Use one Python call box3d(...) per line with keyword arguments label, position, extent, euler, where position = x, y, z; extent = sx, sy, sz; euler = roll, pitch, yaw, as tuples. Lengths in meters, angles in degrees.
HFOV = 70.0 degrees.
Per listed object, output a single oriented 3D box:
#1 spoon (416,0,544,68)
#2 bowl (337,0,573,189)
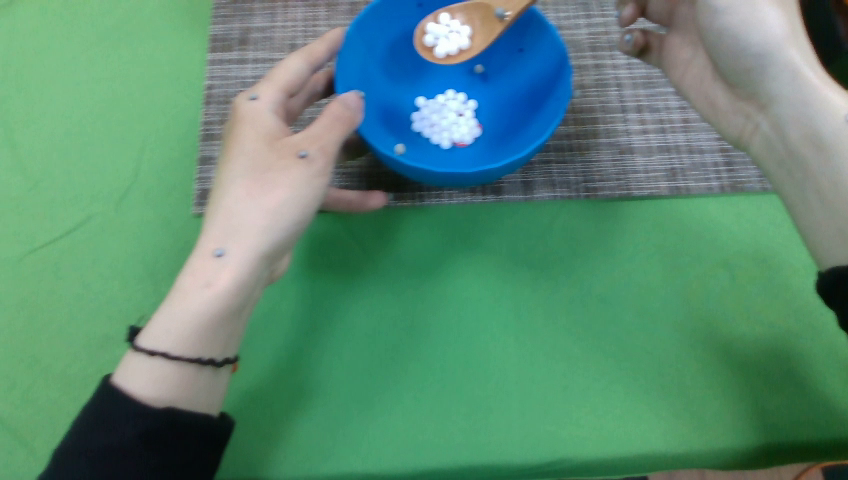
box3d(label="spoon", position=(0.082, -0.148, 0.351), extent=(0.193, 0.022, 0.041), euler=(-18, 71, 26))
box3d(label="bowl", position=(0.020, -0.092, 0.417), extent=(0.151, 0.077, 0.150), euler=(0, 67, -1))
